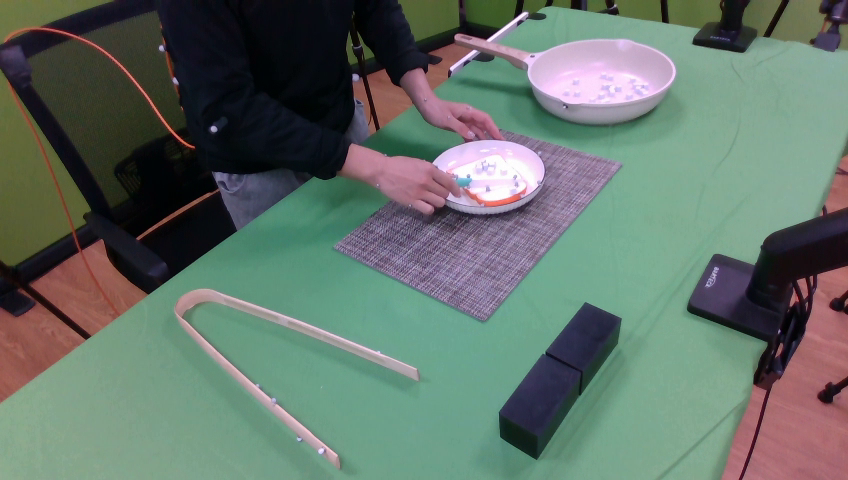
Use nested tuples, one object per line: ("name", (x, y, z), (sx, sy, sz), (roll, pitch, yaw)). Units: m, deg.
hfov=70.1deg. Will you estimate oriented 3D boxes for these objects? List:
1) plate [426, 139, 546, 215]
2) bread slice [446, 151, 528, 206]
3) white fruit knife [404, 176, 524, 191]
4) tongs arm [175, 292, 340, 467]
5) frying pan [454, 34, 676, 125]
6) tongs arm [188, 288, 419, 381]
("plate", (0.109, -0.107, 1.059), (0.207, 0.039, 0.206), (-4, 41, 4))
("bread slice", (0.118, -0.105, 1.057), (0.107, 0.018, 0.133), (-24, 42, -16))
("white fruit knife", (0.070, -0.097, 1.005), (0.208, 0.027, 0.016), (-4, 55, -15))
("tongs arm", (-0.225, 0.169, 0.793), (0.381, 0.026, 0.051), (25, 49, 33))
("frying pan", (0.277, -0.370, 1.295), (0.485, 0.103, 0.307), (26, 49, 22))
("tongs arm", (-0.177, 0.127, 0.842), (0.385, 0.028, 0.028), (15, 48, 24))
